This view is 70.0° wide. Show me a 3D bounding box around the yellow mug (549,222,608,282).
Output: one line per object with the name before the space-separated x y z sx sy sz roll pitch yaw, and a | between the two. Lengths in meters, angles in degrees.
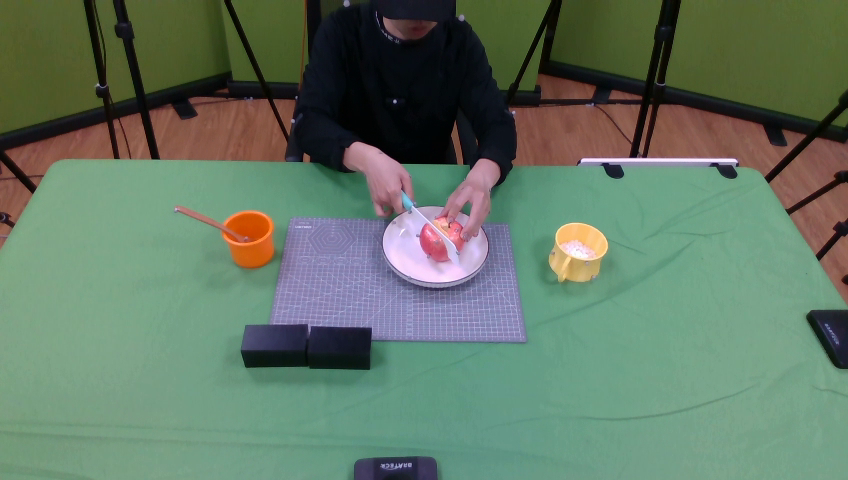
yellow mug | 0.287 0.031 1.159 0.099 0.064 0.130 27 51 21

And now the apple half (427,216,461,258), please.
apple half | 0.039 -0.006 1.152 0.053 0.075 0.080 -22 54 -40

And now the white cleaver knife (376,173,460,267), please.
white cleaver knife | -0.017 -0.042 1.171 0.021 0.066 0.284 -28 49 -18

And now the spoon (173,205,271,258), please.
spoon | -0.362 -0.017 1.098 0.021 0.195 0.041 -33 42 27

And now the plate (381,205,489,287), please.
plate | 0.021 0.015 1.170 0.209 0.038 0.208 2 46 -2

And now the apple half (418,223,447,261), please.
apple half | 0.010 0.012 1.138 0.033 0.082 0.081 -29 54 -19
